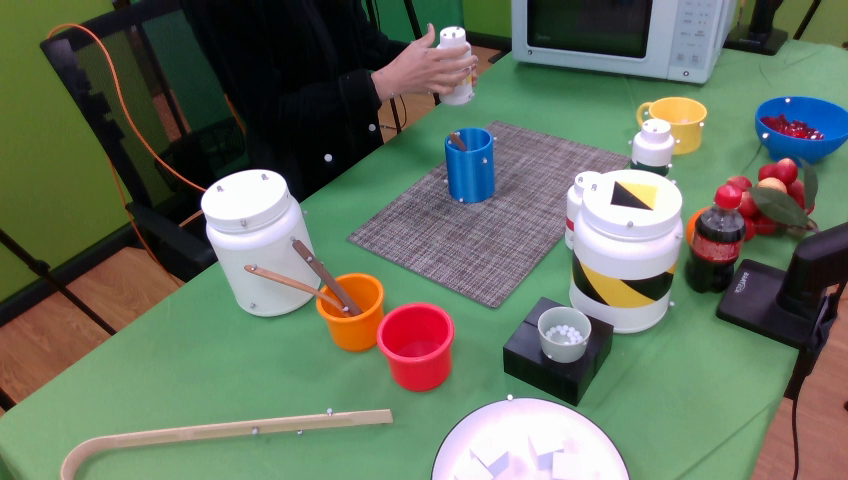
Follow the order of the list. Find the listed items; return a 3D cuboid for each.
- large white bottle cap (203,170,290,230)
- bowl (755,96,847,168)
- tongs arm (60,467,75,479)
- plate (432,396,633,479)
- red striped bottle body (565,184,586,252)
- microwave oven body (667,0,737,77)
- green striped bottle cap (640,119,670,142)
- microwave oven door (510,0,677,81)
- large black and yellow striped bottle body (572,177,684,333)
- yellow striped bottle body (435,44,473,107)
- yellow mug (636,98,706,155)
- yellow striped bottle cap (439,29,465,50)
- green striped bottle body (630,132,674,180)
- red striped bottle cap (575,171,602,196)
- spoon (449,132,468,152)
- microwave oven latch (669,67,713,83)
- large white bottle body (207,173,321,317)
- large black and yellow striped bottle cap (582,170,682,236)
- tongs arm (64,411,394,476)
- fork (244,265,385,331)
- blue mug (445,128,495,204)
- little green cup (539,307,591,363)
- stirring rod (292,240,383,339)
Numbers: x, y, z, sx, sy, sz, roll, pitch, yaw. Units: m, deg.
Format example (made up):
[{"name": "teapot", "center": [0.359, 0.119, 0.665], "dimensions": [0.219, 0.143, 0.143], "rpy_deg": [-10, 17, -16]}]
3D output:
[{"name": "large white bottle cap", "center": [-0.241, -0.057, 0.822], "dimensions": [0.115, 0.018, 0.114], "rpy_deg": [-4, 40, 4]}, {"name": "bowl", "center": [0.645, -0.177, 1.041], "dimensions": [0.151, 0.077, 0.150], "rpy_deg": [-5, 40, 4]}, {"name": "tongs arm", "center": [-0.239, 0.301, 0.648], "dimensions": [0.386, 0.028, 0.028], "rpy_deg": [6, 49, 16]}, {"name": "plate", "center": [0.112, 0.261, 0.634], "dimensions": [0.209, 0.038, 0.208], "rpy_deg": [-5, 40, 4]}, {"name": "red striped bottle body", "center": [0.247, -0.041, 0.910], "dimensions": [0.063, 0.120, 0.062], "rpy_deg": [-3, 39, 3]}, {"name": "microwave oven body", "center": [0.462, -0.552, 1.369], "dimensions": [0.439, 0.261, 0.326], "rpy_deg": [15, 45, 26]}, {"name": "green striped bottle cap", "center": [0.371, -0.175, 0.968], "dimensions": [0.044, 0.020, 0.044], "rpy_deg": [-4, 41, 4]}, {"name": "microwave oven door", "center": [0.354, -0.478, 1.290], "dimensions": [0.353, 0.245, 0.039], "rpy_deg": [15, 45, 25]}, {"name": "large black and yellow striped bottle body", "center": [0.262, 0.017, 0.788], "dimensions": [0.131, 0.185, 0.130], "rpy_deg": [-5, 40, 4]}, {"name": "yellow striped bottle body", "center": [0.054, -0.305, 1.077], "dimensions": [0.063, 0.121, 0.062], "rpy_deg": [-3, 42, 4]}, {"name": "yellow mug", "center": [0.453, -0.217, 1.128], "dimensions": [0.100, 0.064, 0.129], "rpy_deg": [-34, 46, -27]}, {"name": "yellow striped bottle cap", "center": [0.048, -0.345, 1.041], "dimensions": [0.044, 0.019, 0.044], "rpy_deg": [-3, 43, 4]}, {"name": "green striped bottle body", "center": [0.376, -0.135, 1.001], "dimensions": [0.063, 0.120, 0.063], "rpy_deg": [-5, 41, 5]}, {"name": "red striped bottle cap", "center": [0.242, -0.082, 0.876], "dimensions": [0.044, 0.018, 0.044], "rpy_deg": [-5, 44, 5]}, {"name": "spoon", "center": [0.067, -0.143, 0.998], "dimensions": [0.041, 0.195, 0.021], "rpy_deg": [9, 79, 18]}, {"name": "microwave oven latch", "center": [0.556, -0.348, 1.261], "dimensions": [0.078, 0.029, 0.030], "rpy_deg": [16, 46, 27]}, {"name": "large white bottle body", "center": [-0.232, 0.007, 0.876], "dimensions": [0.130, 0.185, 0.130], "rpy_deg": [-5, 40, 4]}, {"name": "large black and yellow striped bottle cap", "center": [0.252, -0.048, 0.735], "dimensions": [0.115, 0.019, 0.114], "rpy_deg": [-3, 40, 3]}, {"name": "tongs arm", "center": [-0.228, 0.241, 0.715], "dimensions": [0.385, 0.026, 0.050], "rpy_deg": [-5, 43, 4]}, {"name": "fork", "center": [-0.142, 0.078, 0.806], "dimensions": [0.209, 0.018, 0.028], "rpy_deg": [30, 32, -23]}, {"name": "blue mug", "center": [0.081, -0.139, 1.058], "dimensions": [0.082, 0.106, 0.116], "rpy_deg": [-4, 40, 4]}, {"name": "little green cup", "center": [0.167, 0.114, 0.721], "dimensions": [0.061, 0.039, 0.061], "rpy_deg": [-4, 43, 4]}, {"name": "stirring rod", "center": [-0.118, 0.068, 0.826], "dimensions": [0.176, 0.006, 0.014], "rpy_deg": [49, 59, -4]}]
